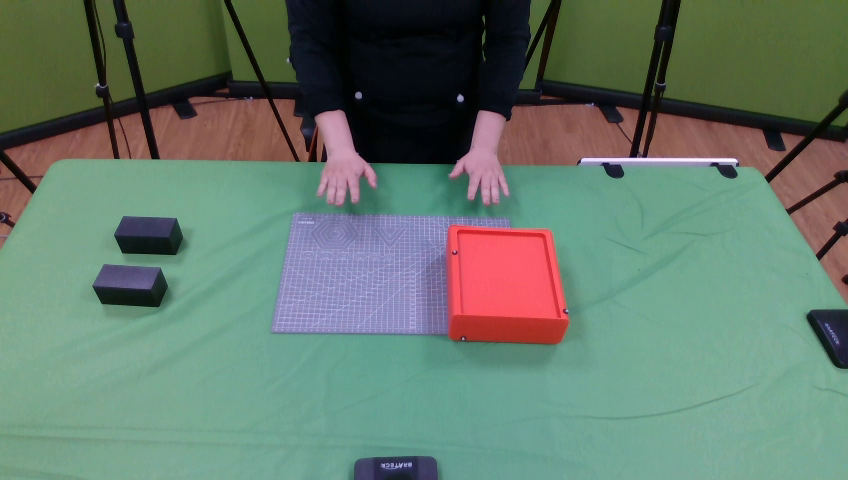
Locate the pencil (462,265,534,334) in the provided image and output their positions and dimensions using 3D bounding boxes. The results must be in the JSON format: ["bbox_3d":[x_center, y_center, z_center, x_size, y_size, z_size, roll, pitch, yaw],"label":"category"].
[{"bbox_3d":[0.130,0.104,1.098,0.012,0.012,0.193,-26,51,-26],"label":"pencil"}]

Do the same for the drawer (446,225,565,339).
[{"bbox_3d":[0.139,0.073,1.094,0.194,0.073,0.210,3,47,-3],"label":"drawer"}]

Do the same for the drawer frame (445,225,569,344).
[{"bbox_3d":[0.141,0.076,1.089,0.202,0.083,0.212,3,47,-4],"label":"drawer frame"}]
